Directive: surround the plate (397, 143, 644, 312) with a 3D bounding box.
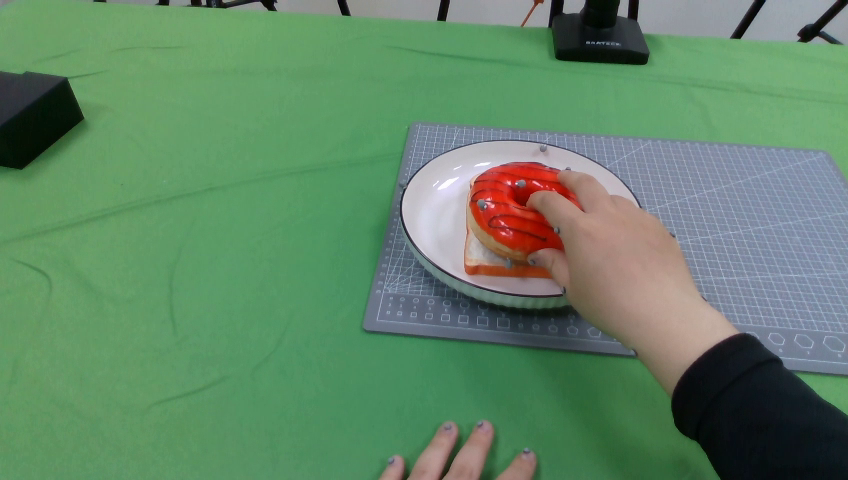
[{"bbox_3d":[0.081,-0.012,0.528,0.209,0.038,0.207,1,43,-1],"label":"plate"}]

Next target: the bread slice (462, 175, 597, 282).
[{"bbox_3d":[0.083,-0.015,0.532,0.107,0.018,0.133,1,43,-3],"label":"bread slice"}]

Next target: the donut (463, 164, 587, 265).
[{"bbox_3d":[0.080,-0.021,0.483,0.099,0.048,0.098,2,48,-2],"label":"donut"}]
